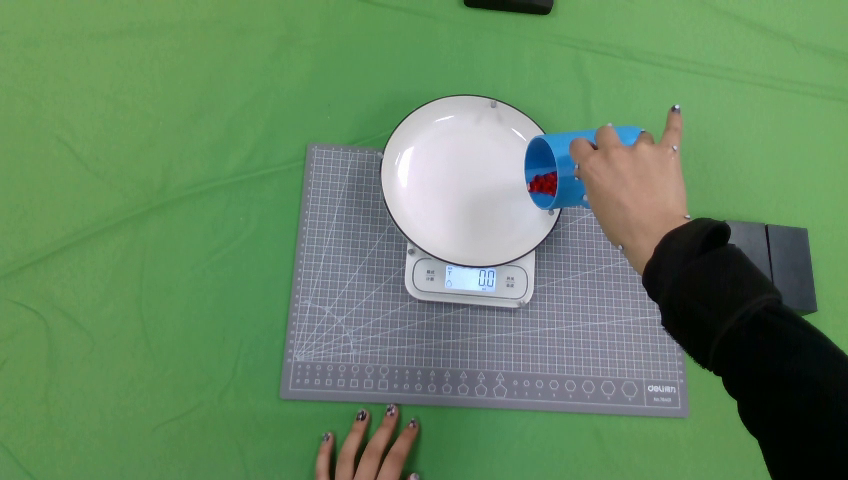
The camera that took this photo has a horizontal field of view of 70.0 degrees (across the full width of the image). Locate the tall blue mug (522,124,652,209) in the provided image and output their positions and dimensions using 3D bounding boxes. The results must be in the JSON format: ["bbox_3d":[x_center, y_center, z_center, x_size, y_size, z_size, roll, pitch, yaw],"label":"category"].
[{"bbox_3d":[0.169,-0.084,0.613,0.108,0.108,0.077,-8,61,-15],"label":"tall blue mug"}]

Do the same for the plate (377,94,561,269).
[{"bbox_3d":[0.051,-0.064,0.682,0.209,0.038,0.208,2,73,-7],"label":"plate"}]

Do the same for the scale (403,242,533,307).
[{"bbox_3d":[0.055,-0.026,0.705,0.149,0.032,0.199,5,73,-4],"label":"scale"}]
